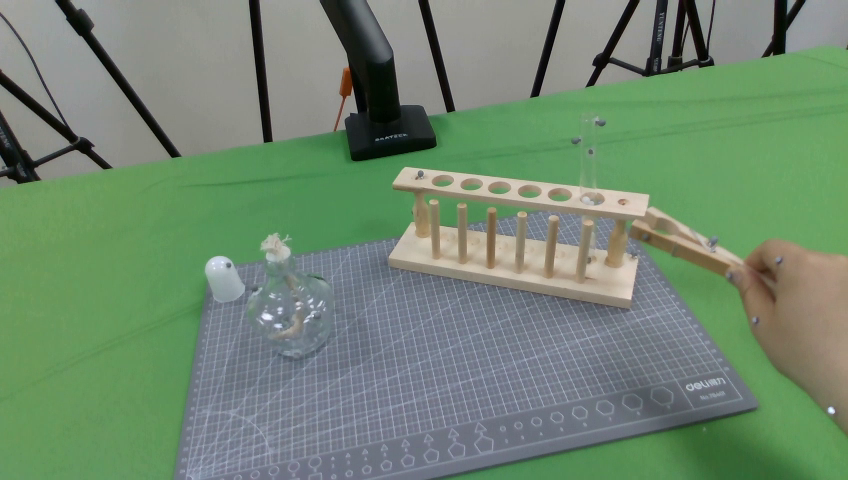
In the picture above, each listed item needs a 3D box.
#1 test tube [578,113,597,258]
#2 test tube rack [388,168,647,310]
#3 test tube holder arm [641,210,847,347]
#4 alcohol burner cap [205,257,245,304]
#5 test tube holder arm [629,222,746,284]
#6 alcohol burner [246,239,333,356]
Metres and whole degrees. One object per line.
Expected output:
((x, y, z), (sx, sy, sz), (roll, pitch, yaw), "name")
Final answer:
((0.149, -0.044, 0.551), (0.017, 0.151, 0.017), (-7, 36, 6), "test tube")
((0.083, -0.005, 0.592), (0.241, 0.086, 0.066), (9, 41, 19), "test tube rack")
((0.233, 0.026, 0.437), (0.013, 0.015, 0.176), (-34, 51, -23), "test tube holder arm")
((-0.204, 0.038, 0.614), (0.034, 0.048, 0.033), (-3, 39, 3), "alcohol burner cap")
((0.198, 0.009, 0.458), (0.087, 0.015, 0.010), (25, 54, 28), "test tube holder arm")
((-0.121, 0.046, 0.533), (0.078, 0.120, 0.077), (-3, 39, 2), "alcohol burner")
